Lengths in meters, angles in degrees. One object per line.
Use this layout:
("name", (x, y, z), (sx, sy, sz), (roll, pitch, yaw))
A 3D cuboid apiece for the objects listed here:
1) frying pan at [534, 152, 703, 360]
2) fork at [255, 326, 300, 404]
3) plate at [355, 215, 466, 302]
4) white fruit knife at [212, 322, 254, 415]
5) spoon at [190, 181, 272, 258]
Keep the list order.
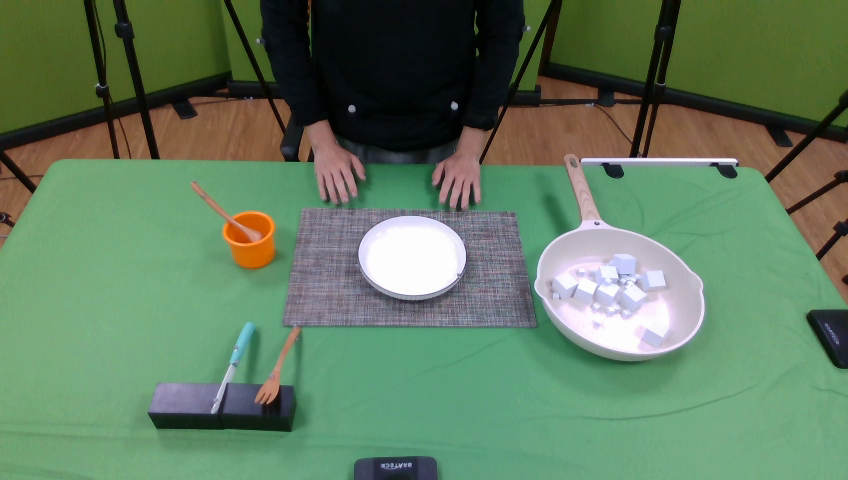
("frying pan", (0.335, 0.013, 1.154), (0.307, 0.103, 0.484), (-1, 55, -7))
("fork", (-0.226, 0.192, 0.955), (0.028, 0.019, 0.206), (-1, 27, 4))
("plate", (-0.025, 0.038, 1.143), (0.208, 0.039, 0.206), (3, 46, -2))
("white fruit knife", (-0.298, 0.193, 0.947), (0.016, 0.027, 0.206), (1, 31, -1))
("spoon", (-0.353, -0.037, 1.111), (0.194, 0.021, 0.041), (42, 38, -20))
